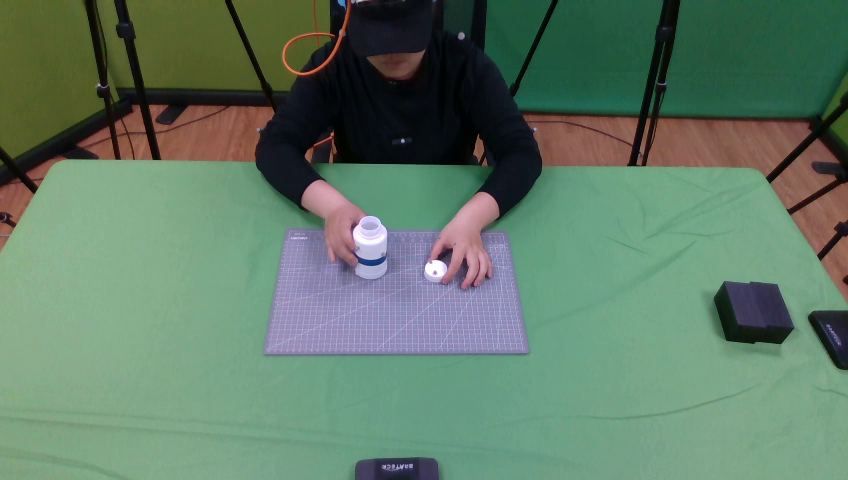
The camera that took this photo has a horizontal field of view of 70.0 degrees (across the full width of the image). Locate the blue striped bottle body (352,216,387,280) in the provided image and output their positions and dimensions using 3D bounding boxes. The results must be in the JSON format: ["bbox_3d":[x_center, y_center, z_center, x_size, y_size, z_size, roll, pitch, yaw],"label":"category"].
[{"bbox_3d":[-0.100,0.012,1.108,0.063,0.121,0.062,2,46,-1],"label":"blue striped bottle body"}]

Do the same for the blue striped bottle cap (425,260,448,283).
[{"bbox_3d":[0.023,0.059,1.146,0.044,0.021,0.044,-1,49,1],"label":"blue striped bottle cap"}]
